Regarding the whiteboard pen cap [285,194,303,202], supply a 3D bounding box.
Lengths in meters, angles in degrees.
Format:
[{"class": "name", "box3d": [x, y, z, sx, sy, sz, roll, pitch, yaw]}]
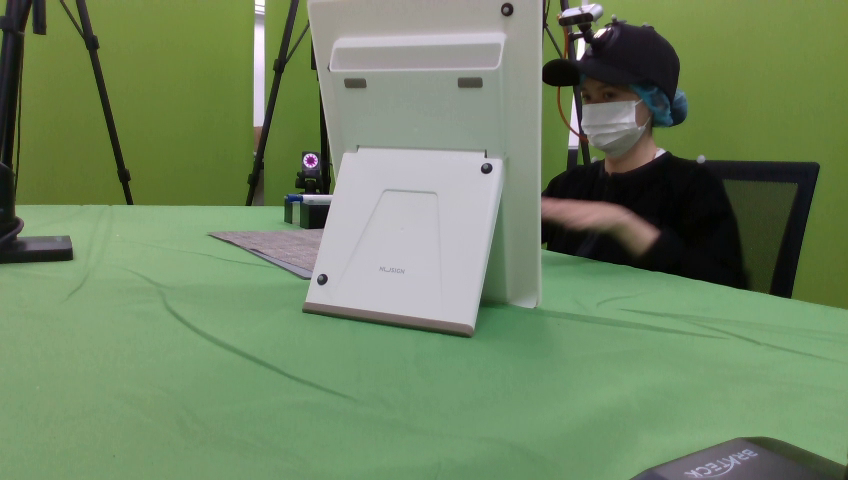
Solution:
[{"class": "whiteboard pen cap", "box3d": [-0.262, -0.085, 1.217, 0.033, 0.018, 0.018, -4, 10, -37]}]

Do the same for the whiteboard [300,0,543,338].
[{"class": "whiteboard", "box3d": [-0.020, -0.050, 0.523, 0.216, 0.305, 0.144, 6, 27, 22]}]

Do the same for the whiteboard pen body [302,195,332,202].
[{"class": "whiteboard pen body", "box3d": [-0.211, -0.086, 1.253, 0.141, 0.017, 0.017, -2, 9, -36]}]
